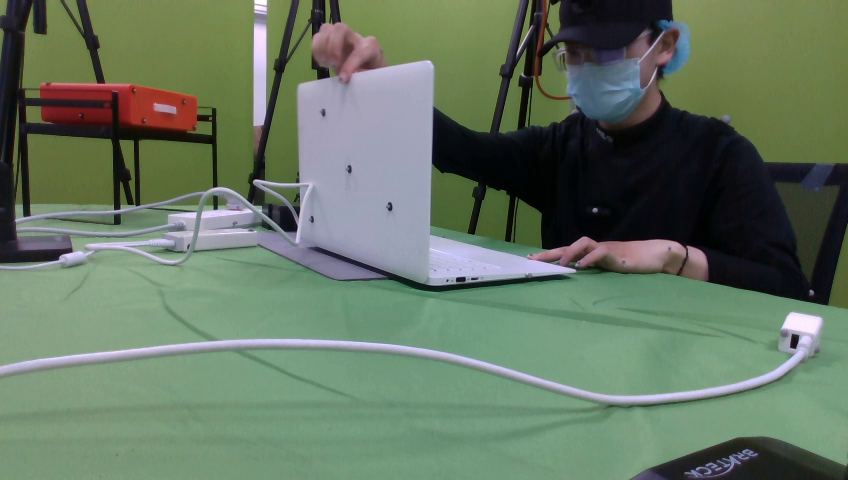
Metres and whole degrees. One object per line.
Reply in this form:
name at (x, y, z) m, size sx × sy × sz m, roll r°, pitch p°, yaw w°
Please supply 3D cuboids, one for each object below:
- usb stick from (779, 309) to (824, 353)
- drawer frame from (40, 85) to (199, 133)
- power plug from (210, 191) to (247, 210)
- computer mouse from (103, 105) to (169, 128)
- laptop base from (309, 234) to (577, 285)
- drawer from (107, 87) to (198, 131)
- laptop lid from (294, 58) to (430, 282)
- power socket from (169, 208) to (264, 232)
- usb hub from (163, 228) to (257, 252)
usb stick at (0.311, 0.072, 0.496) m, size 0.027 × 0.021 × 0.059 m, roll 7°, pitch 15°, yaw 34°
drawer frame at (-0.612, -0.266, 1.235) m, size 0.213 × 0.082 × 0.202 m, roll 4°, pitch 8°, yaw 15°
power plug at (-0.386, -0.071, 1.204) m, size 0.072 × 0.052 × 0.035 m, roll 8°, pitch 11°, yaw 25°
computer mouse at (-0.581, -0.249, 1.223) m, size 0.118 × 0.041 × 0.062 m, roll 2°, pitch 3°, yaw -39°
laptop base at (0.007, 0.022, 0.850) m, size 0.237 × 0.023 × 0.352 m, roll 1°, pitch 7°, yaw -34°
drawer at (-0.609, -0.265, 1.235) m, size 0.211 × 0.073 × 0.195 m, roll 3°, pitch 8°, yaw 16°
laptop lid at (-0.093, -0.092, 0.763) m, size 0.013 × 0.241 × 0.355 m, roll -7°, pitch 13°, yaw -33°
power socket at (-0.381, -0.038, 1.128) m, size 0.072 × 0.032 × 0.227 m, roll 4°, pitch 8°, yaw 17°
usb hub at (-0.314, -0.001, 0.894) m, size 0.049 × 0.025 × 0.126 m, roll 9°, pitch 10°, yaw 41°
